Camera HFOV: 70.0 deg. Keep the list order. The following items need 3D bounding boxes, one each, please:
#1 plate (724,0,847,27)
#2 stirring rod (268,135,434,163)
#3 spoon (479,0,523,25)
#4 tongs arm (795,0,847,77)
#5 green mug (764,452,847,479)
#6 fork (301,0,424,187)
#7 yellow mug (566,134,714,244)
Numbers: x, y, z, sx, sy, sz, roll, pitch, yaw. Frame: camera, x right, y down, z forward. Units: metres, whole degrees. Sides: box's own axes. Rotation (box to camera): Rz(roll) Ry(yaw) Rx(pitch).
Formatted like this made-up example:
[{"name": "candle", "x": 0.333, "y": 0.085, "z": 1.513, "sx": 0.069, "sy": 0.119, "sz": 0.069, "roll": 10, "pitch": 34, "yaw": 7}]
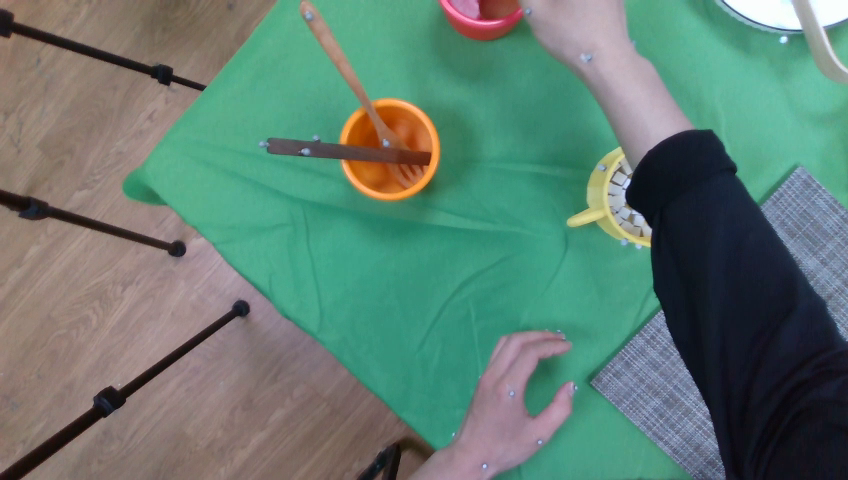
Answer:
[{"name": "plate", "x": 0.350, "y": -0.303, "z": 0.566, "sx": 0.207, "sy": 0.039, "sz": 0.208, "roll": 0, "pitch": 95, "yaw": 2}, {"name": "stirring rod", "x": -0.059, "y": -0.082, "z": 0.549, "sx": 0.177, "sy": 0.006, "sz": 0.014, "roll": -2, "pitch": 97, "yaw": -40}, {"name": "spoon", "x": 0.071, "y": -0.241, "z": 0.501, "sx": 0.041, "sy": 0.194, "sz": 0.021, "roll": 9, "pitch": 79, "yaw": 3}, {"name": "tongs arm", "x": 0.314, "y": -0.324, "z": 0.533, "sx": 0.051, "sy": 0.026, "sz": 0.385, "roll": -19, "pitch": 92, "yaw": 0}, {"name": "green mug", "x": 0.402, "y": 0.254, "z": 0.576, "sx": 0.125, "sy": 0.105, "sz": 0.092, "roll": -31, "pitch": 92, "yaw": 4}, {"name": "fork", "x": -0.050, "y": -0.123, "z": 0.539, "sx": 0.028, "sy": 0.018, "sz": 0.210, "roll": -32, "pitch": 136, "yaw": 2}, {"name": "yellow mug", "x": 0.199, "y": -0.043, "z": 0.580, "sx": 0.131, "sy": 0.064, "sz": 0.100, "roll": -22, "pitch": 94, "yaw": 5}]
